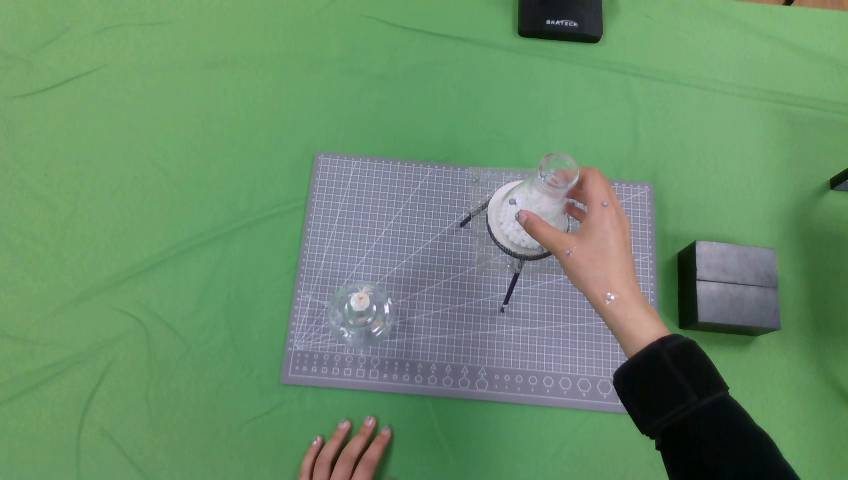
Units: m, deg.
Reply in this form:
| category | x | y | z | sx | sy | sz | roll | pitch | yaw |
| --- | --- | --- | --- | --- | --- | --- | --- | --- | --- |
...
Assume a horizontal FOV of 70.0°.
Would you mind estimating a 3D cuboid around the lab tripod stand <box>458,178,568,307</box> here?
| category | x | y | z | sx | sy | sz | roll | pitch | yaw |
| --- | --- | --- | --- | --- | --- | --- | --- | --- | --- |
| lab tripod stand | 0.109 | -0.008 | 0.704 | 0.148 | 0.132 | 0.147 | 1 | 71 | -3 |

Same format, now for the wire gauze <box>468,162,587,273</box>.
| category | x | y | z | sx | sy | sz | roll | pitch | yaw |
| --- | --- | --- | --- | --- | --- | --- | --- | --- | --- |
| wire gauze | 0.110 | -0.026 | 0.641 | 0.125 | 0.011 | 0.121 | 1 | 74 | -6 |

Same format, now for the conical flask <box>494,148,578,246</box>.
| category | x | y | z | sx | sy | sz | roll | pitch | yaw |
| --- | --- | --- | --- | --- | --- | --- | --- | --- | --- |
| conical flask | 0.113 | -0.046 | 0.585 | 0.075 | 0.122 | 0.075 | 1 | 72 | -3 |

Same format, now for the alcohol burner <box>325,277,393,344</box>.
| category | x | y | z | sx | sy | sz | roll | pitch | yaw |
| --- | --- | --- | --- | --- | --- | --- | --- | --- | --- |
| alcohol burner | -0.073 | 0.075 | 0.678 | 0.078 | 0.119 | 0.077 | 2 | 71 | -5 |
